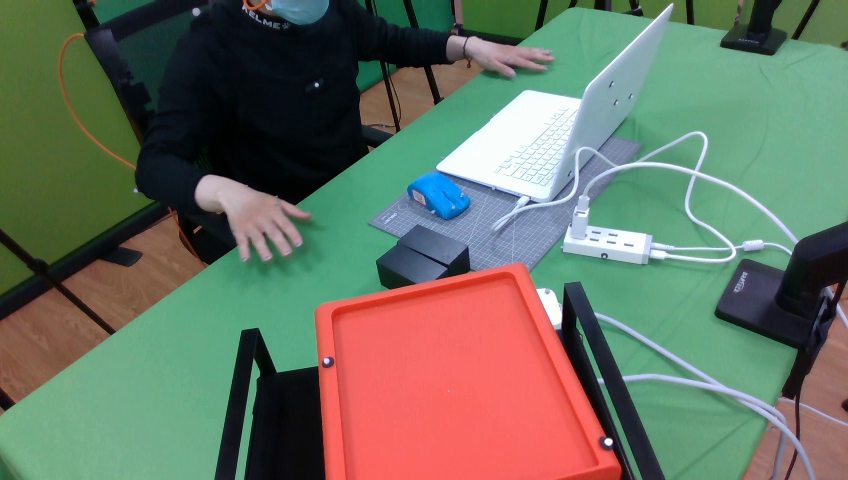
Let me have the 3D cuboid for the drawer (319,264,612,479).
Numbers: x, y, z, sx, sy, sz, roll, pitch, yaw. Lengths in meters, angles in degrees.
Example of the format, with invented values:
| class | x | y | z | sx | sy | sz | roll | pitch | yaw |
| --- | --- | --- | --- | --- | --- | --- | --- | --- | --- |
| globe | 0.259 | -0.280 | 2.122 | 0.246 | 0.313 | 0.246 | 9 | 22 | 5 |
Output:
| class | x | y | z | sx | sy | sz | roll | pitch | yaw |
| --- | --- | --- | --- | --- | --- | --- | --- | --- | --- |
| drawer | 0.020 | 0.129 | 0.497 | 0.195 | 0.073 | 0.210 | -11 | 41 | -5 |

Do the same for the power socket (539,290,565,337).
| class | x | y | z | sx | sy | sz | roll | pitch | yaw |
| --- | --- | --- | --- | --- | --- | --- | --- | --- | --- |
| power socket | 0.081 | 0.112 | 0.822 | 0.227 | 0.033 | 0.072 | -6 | 41 | 0 |

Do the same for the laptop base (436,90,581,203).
| class | x | y | z | sx | sy | sz | roll | pitch | yaw |
| --- | --- | --- | --- | --- | --- | --- | --- | --- | --- |
| laptop base | 0.214 | -0.192 | 1.172 | 0.233 | 0.023 | 0.355 | 19 | 46 | 32 |

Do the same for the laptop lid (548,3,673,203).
| class | x | y | z | sx | sy | sz | roll | pitch | yaw |
| --- | --- | --- | --- | --- | --- | --- | --- | --- | --- |
| laptop lid | 0.320 | -0.235 | 1.026 | 0.013 | 0.242 | 0.357 | 31 | 50 | 20 |

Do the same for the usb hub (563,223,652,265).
| class | x | y | z | sx | sy | sz | roll | pitch | yaw |
| --- | --- | --- | --- | --- | --- | --- | --- | --- | --- |
| usb hub | 0.281 | 0.005 | 0.924 | 0.124 | 0.025 | 0.049 | 10 | 43 | 19 |

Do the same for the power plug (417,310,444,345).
| class | x | y | z | sx | sy | sz | roll | pitch | yaw |
| --- | --- | --- | --- | --- | --- | --- | --- | --- | --- |
| power plug | 0.007 | 0.122 | 0.785 | 0.035 | 0.053 | 0.072 | 1 | 39 | 7 |

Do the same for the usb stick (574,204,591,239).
| class | x | y | z | sx | sy | sz | roll | pitch | yaw |
| --- | --- | --- | --- | --- | --- | --- | --- | --- | --- |
| usb stick | 0.240 | -0.023 | 0.914 | 0.021 | 0.059 | 0.027 | -3 | 34 | 19 |

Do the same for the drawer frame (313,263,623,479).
| class | x | y | z | sx | sy | sz | roll | pitch | yaw |
| --- | --- | --- | --- | --- | --- | --- | --- | --- | --- |
| drawer frame | 0.021 | 0.130 | 0.493 | 0.202 | 0.083 | 0.212 | -11 | 41 | -6 |

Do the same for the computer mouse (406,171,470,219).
| class | x | y | z | sx | sy | sz | roll | pitch | yaw |
| --- | --- | --- | --- | --- | --- | --- | --- | --- | --- |
| computer mouse | 0.024 | -0.082 | 1.049 | 0.063 | 0.041 | 0.116 | -30 | 50 | -27 |
